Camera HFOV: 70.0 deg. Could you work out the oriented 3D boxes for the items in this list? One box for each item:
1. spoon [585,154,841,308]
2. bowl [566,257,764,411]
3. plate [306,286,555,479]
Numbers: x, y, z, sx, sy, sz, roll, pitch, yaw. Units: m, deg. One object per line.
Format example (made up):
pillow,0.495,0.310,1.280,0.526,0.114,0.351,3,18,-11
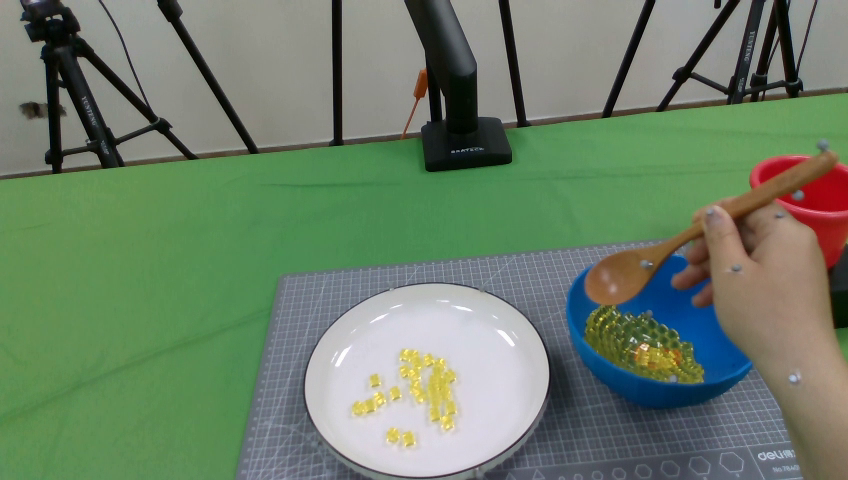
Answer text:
spoon,0.185,-0.001,0.415,0.022,0.194,0.041,13,56,-27
bowl,0.192,0.088,0.506,0.151,0.077,0.150,-3,38,3
plate,0.006,0.121,0.520,0.207,0.039,0.205,-3,38,3
